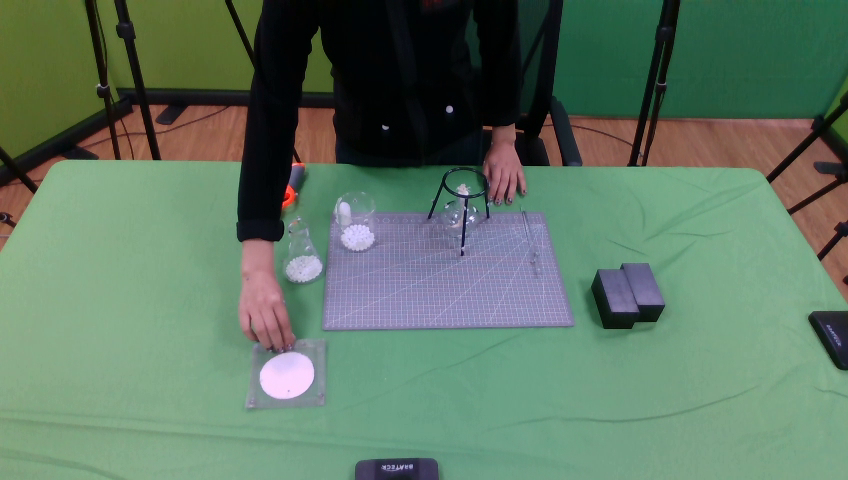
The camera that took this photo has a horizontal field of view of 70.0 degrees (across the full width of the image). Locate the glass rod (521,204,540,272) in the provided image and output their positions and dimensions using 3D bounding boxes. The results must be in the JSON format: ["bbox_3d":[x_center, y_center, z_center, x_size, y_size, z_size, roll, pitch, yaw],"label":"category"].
[{"bbox_3d":[0.215,-0.008,1.230,0.008,0.008,0.198,0,43,-3],"label":"glass rod"}]

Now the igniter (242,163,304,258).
[{"bbox_3d":[-0.305,-0.069,1.239,0.057,0.025,0.275,2,45,12],"label":"igniter"}]

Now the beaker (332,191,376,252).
[{"bbox_3d":[-0.133,-0.032,1.163,0.084,0.101,0.073,-18,50,-20],"label":"beaker"}]

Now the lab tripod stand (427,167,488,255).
[{"bbox_3d":[0.076,-0.068,1.191,0.148,0.132,0.147,2,44,-2],"label":"lab tripod stand"}]

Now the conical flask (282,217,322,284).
[{"bbox_3d":[-0.225,0.016,1.097,0.075,0.122,0.075,2,46,-2],"label":"conical flask"}]

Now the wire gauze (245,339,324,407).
[{"bbox_3d":[-0.224,0.215,0.983,0.125,0.011,0.120,-3,47,-4],"label":"wire gauze"}]

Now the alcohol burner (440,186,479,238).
[{"bbox_3d":[0.072,-0.061,1.198,0.078,0.119,0.077,3,47,-3],"label":"alcohol burner"}]

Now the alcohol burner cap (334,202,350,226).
[{"bbox_3d":[-0.166,-0.055,1.222,0.034,0.048,0.033,2,46,-2],"label":"alcohol burner cap"}]
